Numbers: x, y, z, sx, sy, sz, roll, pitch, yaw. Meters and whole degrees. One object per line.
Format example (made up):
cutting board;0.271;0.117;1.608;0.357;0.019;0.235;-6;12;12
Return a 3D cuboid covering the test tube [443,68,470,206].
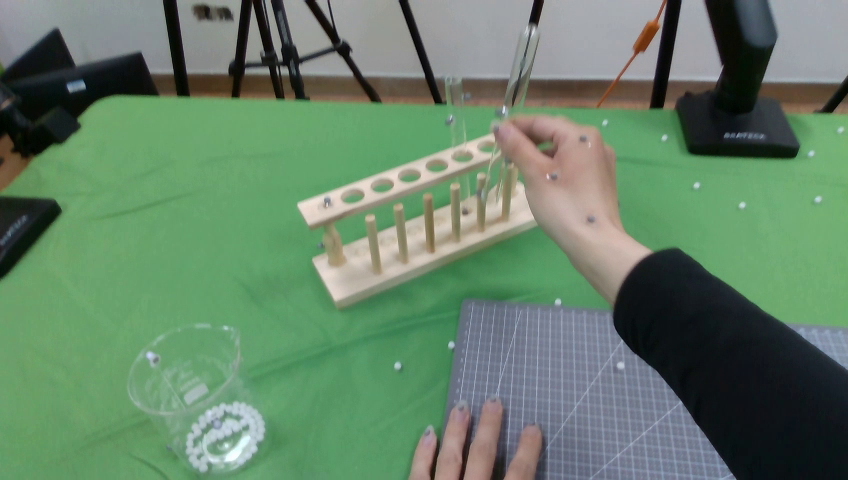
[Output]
test tube;0.032;-0.093;0.582;0.017;0.152;0.017;-4;41;4

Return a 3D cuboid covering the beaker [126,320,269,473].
beaker;-0.157;0.117;0.445;0.073;0.101;0.084;25;51;27

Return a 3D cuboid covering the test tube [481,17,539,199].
test tube;0.066;-0.099;0.478;0.017;0.151;0.017;7;35;-4

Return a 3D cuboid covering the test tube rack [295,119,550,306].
test tube rack;0.007;-0.031;0.591;0.243;0.086;0.066;-22;47;-17
